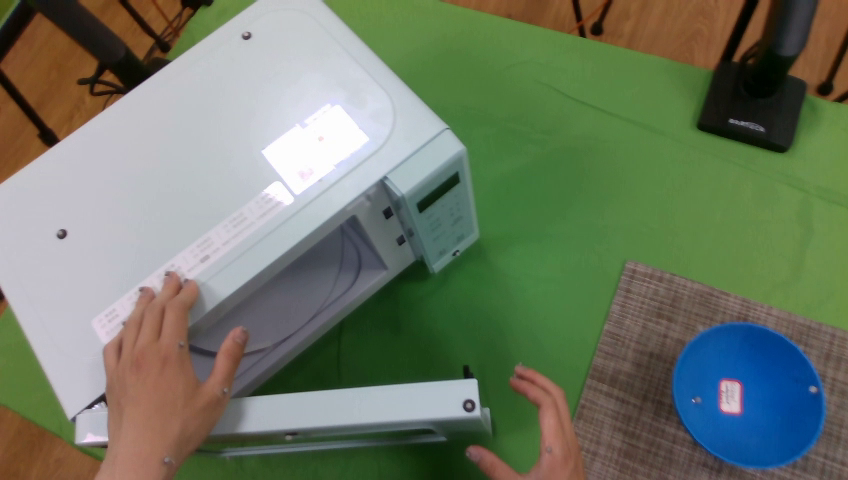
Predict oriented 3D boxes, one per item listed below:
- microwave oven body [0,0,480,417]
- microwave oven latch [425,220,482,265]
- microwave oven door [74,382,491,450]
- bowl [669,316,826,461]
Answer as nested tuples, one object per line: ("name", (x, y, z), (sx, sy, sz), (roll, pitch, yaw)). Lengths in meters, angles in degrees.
("microwave oven body", (-0.205, -0.031, 0.716), (0.441, 0.262, 0.323), (-39, 70, -6))
("microwave oven latch", (0.037, -0.003, 0.775), (0.079, 0.030, 0.030), (-37, 69, -6))
("microwave oven door", (-0.114, 0.181, 0.617), (0.355, 0.245, 0.039), (-6, 69, 5))
("bowl", (0.339, 0.165, 0.662), (0.151, 0.077, 0.150), (-3, 69, 7))
